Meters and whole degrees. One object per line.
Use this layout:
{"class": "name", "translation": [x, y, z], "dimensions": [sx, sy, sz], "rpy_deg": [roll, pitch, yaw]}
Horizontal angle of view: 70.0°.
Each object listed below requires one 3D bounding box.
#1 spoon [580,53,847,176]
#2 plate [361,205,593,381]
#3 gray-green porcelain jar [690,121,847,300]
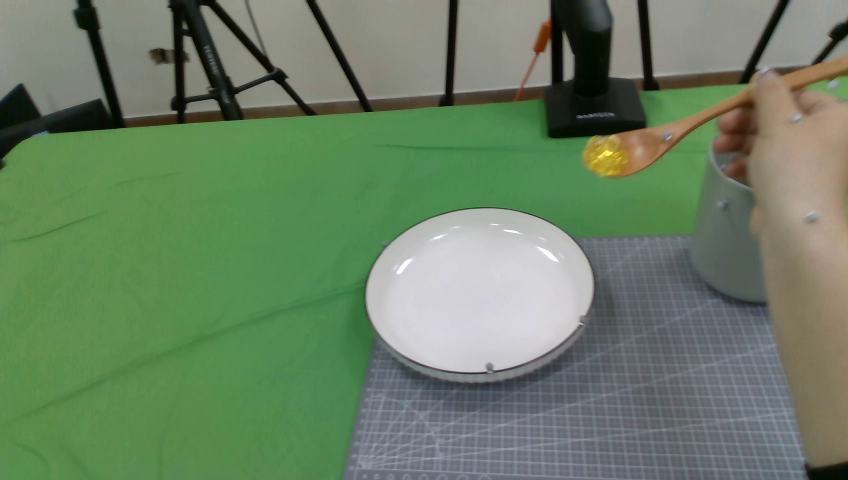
{"class": "spoon", "translation": [0.203, -0.087, 0.415], "dimensions": [0.193, 0.022, 0.041], "rpy_deg": [-23, 45, 16]}
{"class": "plate", "translation": [0.047, 0.047, 0.557], "dimensions": [0.207, 0.039, 0.205], "rpy_deg": [-5, 42, 5]}
{"class": "gray-green porcelain jar", "translation": [0.289, -0.020, 0.517], "dimensions": [0.106, 0.128, 0.105], "rpy_deg": [-6, 42, 6]}
